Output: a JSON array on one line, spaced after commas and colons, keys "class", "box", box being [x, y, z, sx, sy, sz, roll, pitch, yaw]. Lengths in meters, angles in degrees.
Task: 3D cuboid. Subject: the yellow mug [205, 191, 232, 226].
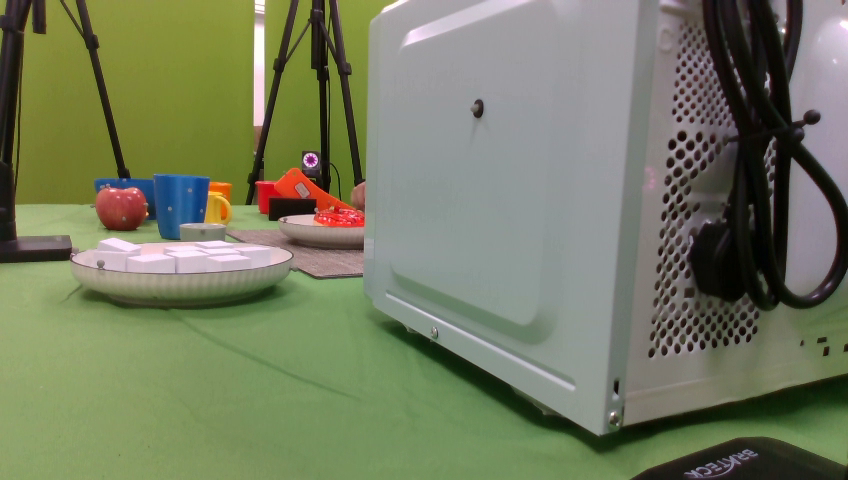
[{"class": "yellow mug", "box": [-0.415, -0.057, 1.131, 0.130, 0.064, 0.100, 6, 7, 16]}]

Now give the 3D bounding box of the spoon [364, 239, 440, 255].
[{"class": "spoon", "box": [-0.024, 0.007, 0.907, 0.041, 0.021, 0.194, -3, 3, 31]}]

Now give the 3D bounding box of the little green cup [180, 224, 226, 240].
[{"class": "little green cup", "box": [-0.309, -0.001, 0.846, 0.061, 0.038, 0.061, 2, 8, 0]}]

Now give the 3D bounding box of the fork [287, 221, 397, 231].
[{"class": "fork", "box": [-0.148, -0.025, 1.120, 0.208, 0.018, 0.028, -3, 1, -22]}]

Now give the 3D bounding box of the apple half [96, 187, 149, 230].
[{"class": "apple half", "box": [-0.516, -0.052, 1.036, 0.081, 0.074, 0.053, 3, 11, -27]}]

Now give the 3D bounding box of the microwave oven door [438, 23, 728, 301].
[{"class": "microwave oven door", "box": [0.181, -0.072, 0.620, 0.358, 0.243, 0.039, -2, 8, -29]}]

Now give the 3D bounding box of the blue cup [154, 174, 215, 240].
[{"class": "blue cup", "box": [-0.391, -0.053, 0.978, 0.093, 0.100, 0.092, 4, 6, 0]}]

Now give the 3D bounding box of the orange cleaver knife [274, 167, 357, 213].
[{"class": "orange cleaver knife", "box": [-0.238, -0.090, 1.381, 0.212, 0.077, 0.012, 31, 0, -19]}]

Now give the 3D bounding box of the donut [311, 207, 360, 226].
[{"class": "donut", "box": [-0.137, -0.029, 0.995, 0.099, 0.048, 0.099, 4, 9, 0]}]

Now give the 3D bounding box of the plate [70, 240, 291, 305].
[{"class": "plate", "box": [-0.242, 0.031, 0.618, 0.208, 0.039, 0.207, 2, 8, 0]}]

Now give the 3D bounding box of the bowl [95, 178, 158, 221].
[{"class": "bowl", "box": [-0.576, -0.081, 1.217, 0.151, 0.077, 0.151, 3, 8, 0]}]

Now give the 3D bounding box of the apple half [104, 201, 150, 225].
[{"class": "apple half", "box": [-0.548, -0.044, 1.115, 0.081, 0.033, 0.081, 18, 6, -2]}]

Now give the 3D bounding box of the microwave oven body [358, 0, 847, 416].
[{"class": "microwave oven body", "box": [0.211, -0.047, 0.474, 0.444, 0.260, 0.324, -1, 7, -28]}]

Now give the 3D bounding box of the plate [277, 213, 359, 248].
[{"class": "plate", "box": [-0.135, -0.017, 0.993, 0.209, 0.038, 0.209, 2, 8, 0]}]

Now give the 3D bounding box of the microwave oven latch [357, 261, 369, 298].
[{"class": "microwave oven latch", "box": [-0.019, 0.033, 0.530, 0.079, 0.029, 0.030, 0, 7, -25]}]
